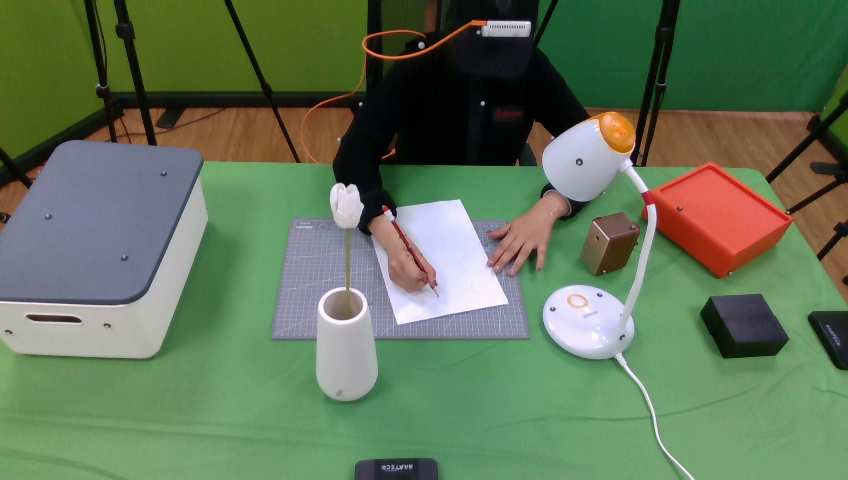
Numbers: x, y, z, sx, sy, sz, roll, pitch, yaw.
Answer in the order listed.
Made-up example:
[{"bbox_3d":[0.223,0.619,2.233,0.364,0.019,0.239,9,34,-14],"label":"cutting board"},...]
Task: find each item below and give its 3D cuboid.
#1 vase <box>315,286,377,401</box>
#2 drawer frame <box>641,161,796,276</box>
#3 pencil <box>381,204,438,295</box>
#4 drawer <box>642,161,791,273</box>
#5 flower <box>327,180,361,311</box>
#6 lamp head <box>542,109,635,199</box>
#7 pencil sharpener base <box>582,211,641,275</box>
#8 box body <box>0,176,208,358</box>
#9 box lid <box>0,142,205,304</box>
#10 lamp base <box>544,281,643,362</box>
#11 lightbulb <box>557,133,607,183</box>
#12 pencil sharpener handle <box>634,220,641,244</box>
[{"bbox_3d":[-0.119,0.159,0.911,0.098,0.201,0.097,2,47,-2],"label":"vase"},{"bbox_3d":[0.599,-0.051,1.244,0.202,0.083,0.212,-24,53,-25],"label":"drawer frame"},{"bbox_3d":[-0.023,0.020,1.092,0.012,0.012,0.194,-38,103,-33],"label":"pencil"},{"bbox_3d":[0.596,-0.051,1.246,0.194,0.073,0.210,-23,52,-25],"label":"drawer"},{"bbox_3d":[-0.111,0.086,0.867,0.044,0.363,0.038,22,33,36],"label":"flower"},{"bbox_3d":[0.253,-0.131,0.893,0.113,0.123,0.112,10,66,-24],"label":"lamp head"},{"bbox_3d":[0.357,0.005,1.156,0.077,0.107,0.061,-15,48,-17],"label":"pencil sharpener base"},{"bbox_3d":[-0.546,0.017,1.045,0.254,0.161,0.361,2,46,-2],"label":"box body"},{"bbox_3d":[-0.534,-0.044,0.995,0.263,0.015,0.369,3,45,-3],"label":"box lid"},{"bbox_3d":[0.303,0.095,1.014,0.161,0.181,0.178,-24,54,-24],"label":"lamp base"},{"bbox_3d":[0.243,-0.127,0.917,0.059,0.108,0.059,6,67,-13],"label":"lightbulb"},{"bbox_3d":[0.405,-0.015,1.162,0.031,0.068,0.035,-15,46,-17],"label":"pencil sharpener handle"}]
